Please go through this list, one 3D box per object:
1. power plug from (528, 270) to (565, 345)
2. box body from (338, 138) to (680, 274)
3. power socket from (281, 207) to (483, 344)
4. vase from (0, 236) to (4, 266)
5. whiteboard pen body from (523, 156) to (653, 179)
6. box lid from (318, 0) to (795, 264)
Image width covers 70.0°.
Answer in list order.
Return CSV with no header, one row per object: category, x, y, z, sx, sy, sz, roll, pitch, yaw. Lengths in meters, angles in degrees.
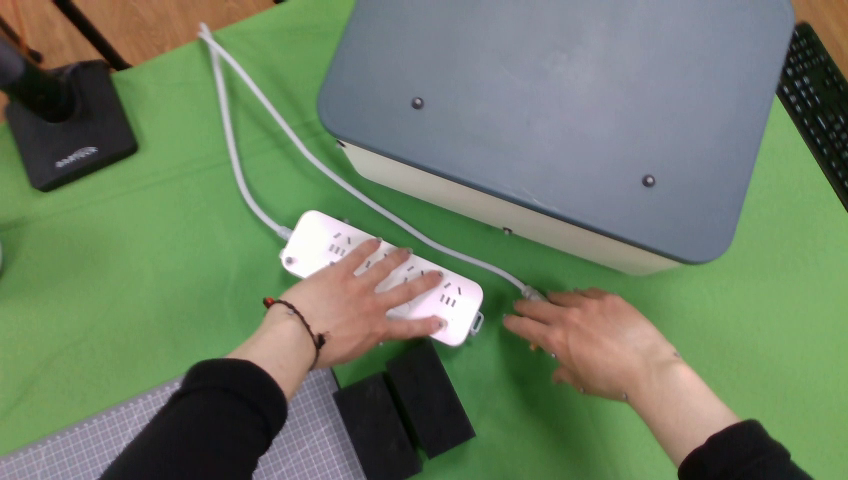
power plug,0.124,0.073,0.628,0.035,0.053,0.072,4,63,-23
box body,0.118,-0.140,0.603,0.364,0.161,0.253,20,80,4
power socket,-0.043,0.037,0.636,0.226,0.033,0.072,24,80,5
vase,-0.495,-0.002,0.562,0.098,0.201,0.097,0,77,0
whiteboard pen body,0.177,-0.078,0.656,0.141,0.017,0.017,-5,79,0
box lid,0.118,-0.154,0.530,0.371,0.015,0.262,20,81,4
